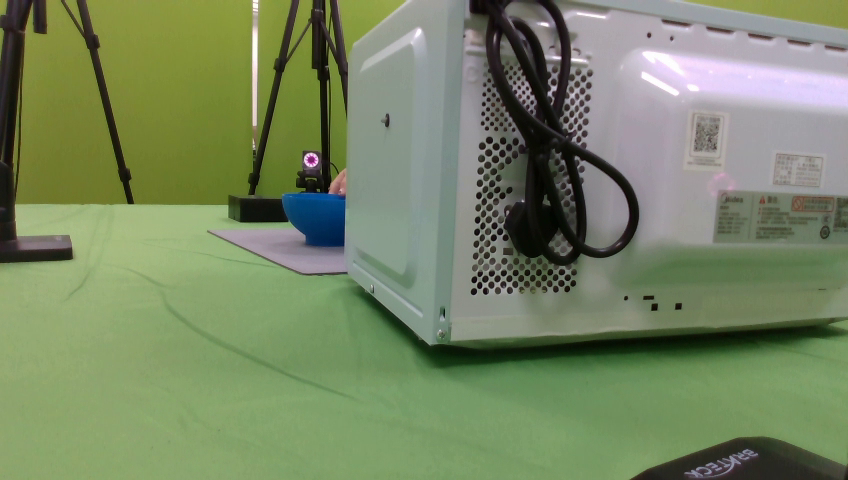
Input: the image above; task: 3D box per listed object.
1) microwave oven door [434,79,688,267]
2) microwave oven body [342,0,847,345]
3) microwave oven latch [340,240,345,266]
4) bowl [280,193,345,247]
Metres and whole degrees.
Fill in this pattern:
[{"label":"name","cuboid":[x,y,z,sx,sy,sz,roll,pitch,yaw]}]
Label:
[{"label":"microwave oven door","cuboid":[0.179,-0.102,0.868,0.354,0.243,0.039,7,9,31]},{"label":"microwave oven body","cuboid":[0.169,-0.060,0.573,0.444,0.260,0.324,1,7,-20]},{"label":"microwave oven latch","cuboid":[-0.052,0.016,0.662,0.079,0.029,0.030,1,7,-19]},{"label":"bowl","cuboid":[-0.153,-0.032,0.969,0.151,0.077,0.151,3,7,0]}]
